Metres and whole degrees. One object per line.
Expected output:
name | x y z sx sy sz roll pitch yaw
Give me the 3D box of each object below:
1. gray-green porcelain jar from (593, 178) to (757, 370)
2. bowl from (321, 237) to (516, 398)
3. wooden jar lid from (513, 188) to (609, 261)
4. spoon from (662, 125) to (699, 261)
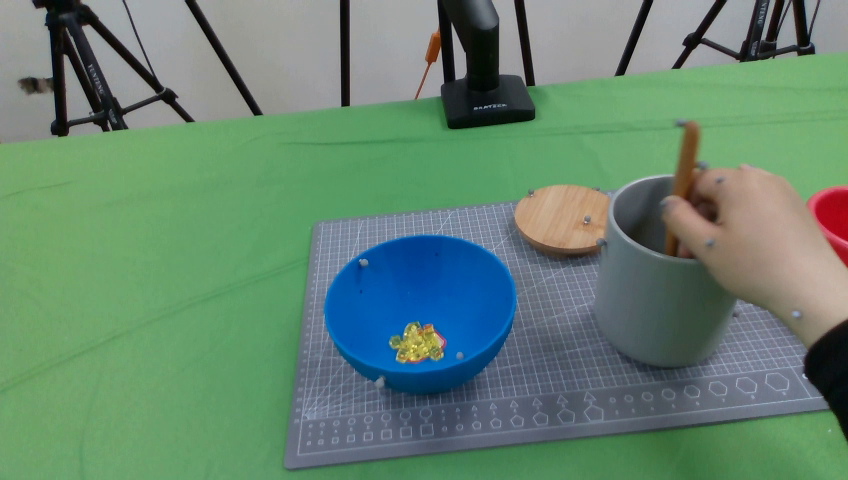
gray-green porcelain jar | 0.191 0.032 0.481 0.106 0.128 0.105 -4 40 3
bowl | -0.002 0.075 0.491 0.151 0.077 0.150 -3 40 3
wooden jar lid | 0.146 -0.015 0.627 0.108 0.021 0.107 -4 39 3
spoon | 0.183 0.006 0.445 0.021 0.195 0.041 -21 38 -12
